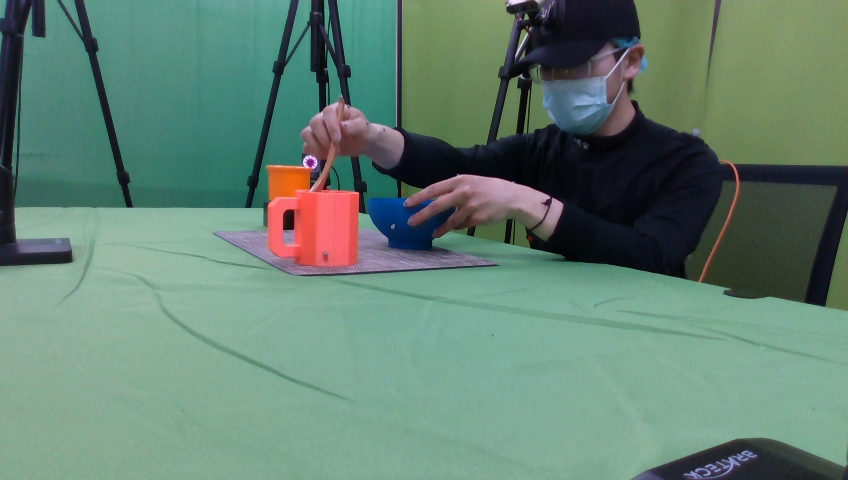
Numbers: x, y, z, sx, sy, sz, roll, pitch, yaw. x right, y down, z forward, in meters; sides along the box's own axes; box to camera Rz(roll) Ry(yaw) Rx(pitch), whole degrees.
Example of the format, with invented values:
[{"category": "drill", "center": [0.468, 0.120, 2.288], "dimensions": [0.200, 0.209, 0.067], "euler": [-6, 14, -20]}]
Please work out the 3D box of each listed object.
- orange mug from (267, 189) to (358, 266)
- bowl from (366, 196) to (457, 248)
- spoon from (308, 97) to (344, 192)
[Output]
[{"category": "orange mug", "center": [-0.145, -0.019, 0.797], "dimensions": [0.127, 0.100, 0.083], "euler": [2, 6, -38]}, {"category": "bowl", "center": [-0.022, -0.030, 1.000], "dimensions": [0.151, 0.077, 0.151], "euler": [2, 7, 0]}, {"category": "spoon", "center": [-0.134, -0.103, 0.819], "dimensions": [0.021, 0.193, 0.042], "euler": [14, -10, 15]}]
